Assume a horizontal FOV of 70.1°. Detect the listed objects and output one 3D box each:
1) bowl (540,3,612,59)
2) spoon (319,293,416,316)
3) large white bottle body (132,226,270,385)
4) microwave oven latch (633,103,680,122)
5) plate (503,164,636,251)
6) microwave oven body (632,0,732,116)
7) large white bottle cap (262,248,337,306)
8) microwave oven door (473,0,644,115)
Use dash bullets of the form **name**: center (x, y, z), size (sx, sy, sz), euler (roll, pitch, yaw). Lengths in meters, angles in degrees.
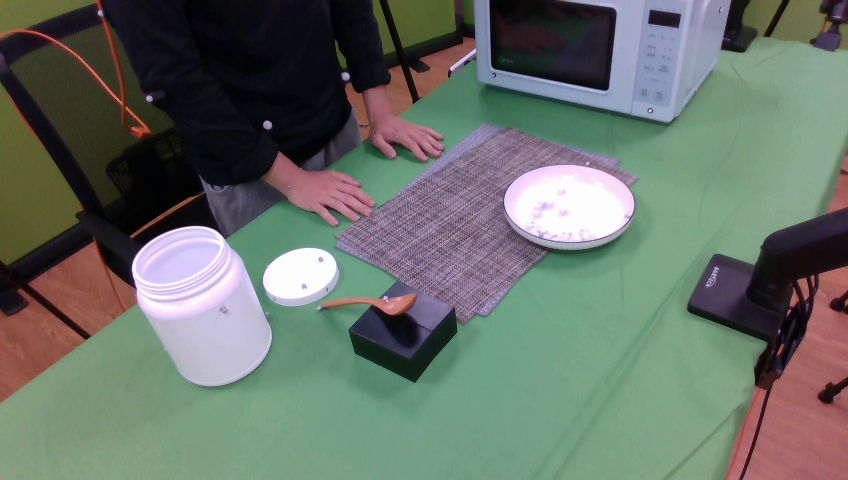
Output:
- **bowl**: center (0.323, -0.441, 1.298), size (0.151, 0.077, 0.150), euler (-4, 41, 4)
- **spoon**: center (-0.082, 0.086, 0.826), size (0.192, 0.022, 0.041), euler (-3, 36, 41)
- **large white bottle body**: center (-0.286, 0.085, 0.784), size (0.130, 0.185, 0.130), euler (-4, 41, 4)
- **microwave oven latch**: center (0.444, -0.249, 1.157), size (0.078, 0.029, 0.030), euler (21, 48, 30)
- **plate**: center (0.232, -0.051, 0.976), size (0.209, 0.038, 0.208), euler (-3, 41, 3)
- **microwave oven body**: center (0.377, -0.462, 1.267), size (0.438, 0.261, 0.327), euler (21, 48, 30)
- **large white bottle cap**: center (-0.192, 0.056, 0.934), size (0.115, 0.018, 0.114), euler (-4, 41, 4)
- **microwave oven door**: center (0.257, -0.396, 1.199), size (0.353, 0.245, 0.039), euler (21, 48, 29)
